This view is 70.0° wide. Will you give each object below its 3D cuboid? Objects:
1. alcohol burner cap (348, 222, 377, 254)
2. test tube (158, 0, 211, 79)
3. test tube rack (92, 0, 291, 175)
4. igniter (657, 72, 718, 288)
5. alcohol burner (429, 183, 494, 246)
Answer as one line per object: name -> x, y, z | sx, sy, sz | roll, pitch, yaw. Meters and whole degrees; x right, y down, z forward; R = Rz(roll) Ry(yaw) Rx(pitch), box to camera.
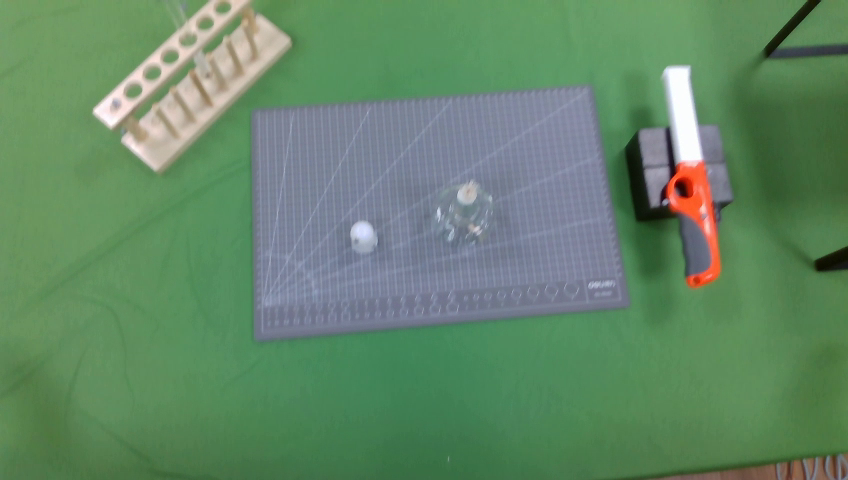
alcohol burner cap -> -0.075, -0.005, 0.728 | 0.034, 0.048, 0.033 | 0, 73, 1
test tube -> -0.283, -0.241, 0.719 | 0.017, 0.151, 0.017 | 0, 69, 0
test tube rack -> -0.281, -0.202, 0.759 | 0.066, 0.085, 0.242 | 39, 77, 10
igniter -> 0.310, -0.077, 0.720 | 0.057, 0.025, 0.274 | -1, 72, 1
alcohol burner -> 0.045, -0.036, 0.703 | 0.078, 0.119, 0.077 | 1, 72, -2
